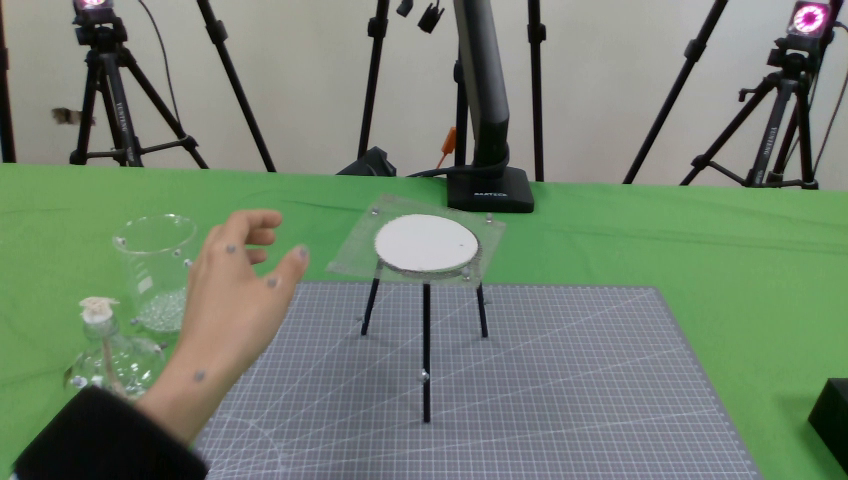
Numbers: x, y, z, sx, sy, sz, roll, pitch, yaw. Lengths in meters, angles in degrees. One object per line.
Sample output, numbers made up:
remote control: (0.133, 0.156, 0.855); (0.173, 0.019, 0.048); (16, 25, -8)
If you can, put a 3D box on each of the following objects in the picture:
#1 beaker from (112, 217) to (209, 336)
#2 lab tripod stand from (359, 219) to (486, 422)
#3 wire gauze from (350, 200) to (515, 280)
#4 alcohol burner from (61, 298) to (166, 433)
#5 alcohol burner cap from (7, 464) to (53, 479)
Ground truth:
beaker: (-0.254, 0.036, 0.598); (0.074, 0.101, 0.083); (8, 32, 8)
lab tripod stand: (0.002, 0.062, 0.536); (0.148, 0.132, 0.147); (3, 33, -2)
wire gauze: (0.005, -0.006, 0.486); (0.125, 0.011, 0.120); (7, 26, -7)
alcohol burner: (-0.253, 0.096, 0.488); (0.078, 0.120, 0.077); (3, 30, -1)
alcohol burner cap: (-0.274, 0.178, 0.423); (0.034, 0.048, 0.033); (2, 31, -1)
